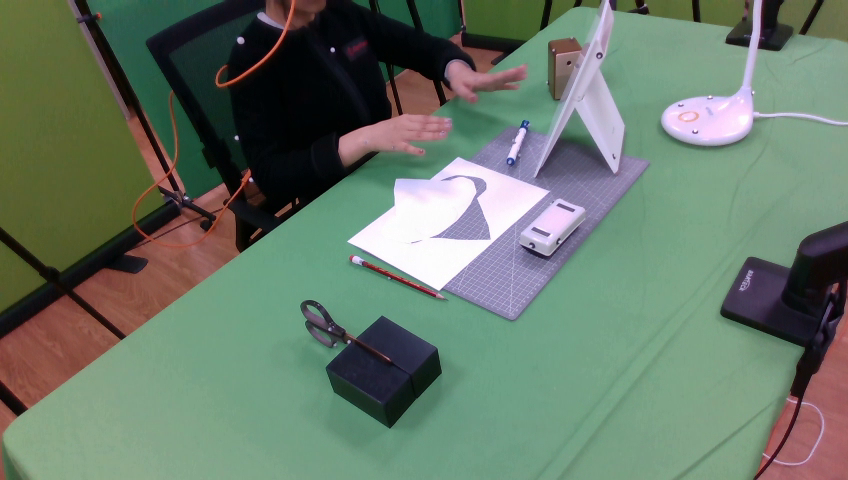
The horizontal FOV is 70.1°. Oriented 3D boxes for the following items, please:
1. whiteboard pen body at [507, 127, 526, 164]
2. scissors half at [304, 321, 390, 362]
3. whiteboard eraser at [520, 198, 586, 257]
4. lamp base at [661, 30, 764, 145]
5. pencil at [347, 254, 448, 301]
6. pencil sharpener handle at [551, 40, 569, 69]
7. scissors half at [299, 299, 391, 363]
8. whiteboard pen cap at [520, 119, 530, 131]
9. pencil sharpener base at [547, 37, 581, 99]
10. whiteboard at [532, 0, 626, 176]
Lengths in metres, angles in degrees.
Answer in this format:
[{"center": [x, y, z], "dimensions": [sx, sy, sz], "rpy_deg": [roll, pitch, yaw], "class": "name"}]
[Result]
[{"center": [0.181, -0.189, 1.162], "dimensions": [0.017, 0.017, 0.140], "rpy_deg": [8, 42, 19], "class": "whiteboard pen body"}, {"center": [-0.104, 0.138, 0.803], "dimensions": [0.174, 0.040, 0.013], "rpy_deg": [8, 29, 44], "class": "scissors half"}, {"center": [0.203, -0.019, 0.946], "dimensions": [0.055, 0.042, 0.113], "rpy_deg": [25, 51, 34], "class": "whiteboard eraser"}, {"center": [0.535, -0.287, 1.096], "dimensions": [0.179, 0.181, 0.159], "rpy_deg": [-10, 40, -4], "class": "lamp base"}, {"center": [-0.044, 0.058, 0.933], "dimensions": [0.192, 0.012, 0.012], "rpy_deg": [22, 49, 29], "class": "pencil"}, {"center": [0.291, -0.409, 1.320], "dimensions": [0.036, 0.068, 0.030], "rpy_deg": [2, 40, -6], "class": "pencil sharpener handle"}, {"center": [-0.107, 0.120, 0.794], "dimensions": [0.174, 0.040, 0.013], "rpy_deg": [26, 46, 32], "class": "scissors half"}, {"center": [0.200, -0.227, 1.204], "dimensions": [0.018, 0.018, 0.033], "rpy_deg": [7, 42, 18], "class": "whiteboard pen cap"}, {"center": [0.299, -0.368, 1.290], "dimensions": [0.061, 0.107, 0.076], "rpy_deg": [-8, 40, 2], "class": "pencil sharpener base"}, {"center": [0.320, -0.258, 1.050], "dimensions": [0.144, 0.306, 0.217], "rpy_deg": [21, 45, 5], "class": "whiteboard"}]
